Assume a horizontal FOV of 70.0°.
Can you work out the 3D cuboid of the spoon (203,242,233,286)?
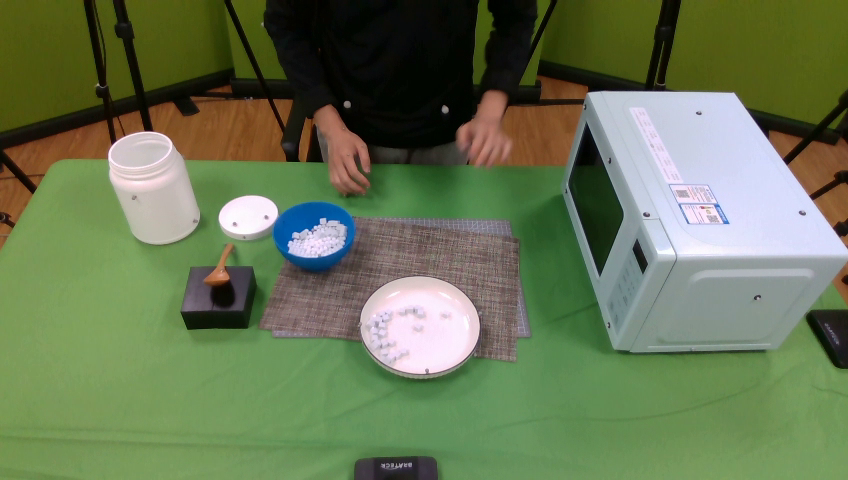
[{"bbox_3d":[-0.360,0.039,1.087,0.041,0.022,0.192,-6,24,-7],"label":"spoon"}]

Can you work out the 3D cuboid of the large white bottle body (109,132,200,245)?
[{"bbox_3d":[-0.506,-0.097,1.141,0.131,0.185,0.130,2,46,-2],"label":"large white bottle body"}]

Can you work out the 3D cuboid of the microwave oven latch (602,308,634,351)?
[{"bbox_3d":[0.332,0.153,1.044,0.030,0.029,0.078,-1,45,-4],"label":"microwave oven latch"}]

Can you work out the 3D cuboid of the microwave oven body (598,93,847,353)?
[{"bbox_3d":[0.475,-0.041,1.109,0.326,0.261,0.438,-1,45,-4],"label":"microwave oven body"}]

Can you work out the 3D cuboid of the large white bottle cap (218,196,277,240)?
[{"bbox_3d":[-0.354,-0.045,1.220,0.115,0.018,0.114,1,45,-1],"label":"large white bottle cap"}]

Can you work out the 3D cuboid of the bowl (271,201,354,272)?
[{"bbox_3d":[-0.205,0.006,1.135,0.151,0.077,0.150,3,46,-3],"label":"bowl"}]

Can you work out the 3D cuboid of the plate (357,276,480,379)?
[{"bbox_3d":[-0.009,0.151,1.038,0.209,0.038,0.208,2,47,-2],"label":"plate"}]

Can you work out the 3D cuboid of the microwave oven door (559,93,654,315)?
[{"bbox_3d":[0.327,-0.074,1.123,0.039,0.245,0.353,-1,46,-5],"label":"microwave oven door"}]
